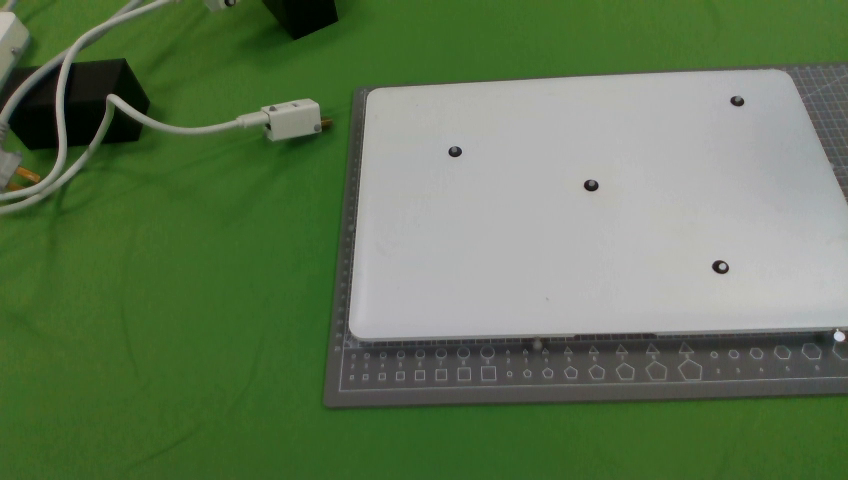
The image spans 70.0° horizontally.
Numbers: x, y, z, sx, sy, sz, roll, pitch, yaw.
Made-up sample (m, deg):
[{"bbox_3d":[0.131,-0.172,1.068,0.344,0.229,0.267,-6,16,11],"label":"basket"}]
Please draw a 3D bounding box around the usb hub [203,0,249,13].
[{"bbox_3d":[-0.153,-0.257,0.569,0.125,0.025,0.049,-33,62,-16],"label":"usb hub"}]

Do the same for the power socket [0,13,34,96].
[{"bbox_3d":[-0.444,-0.137,0.567,0.072,0.033,0.224,2,56,4],"label":"power socket"}]

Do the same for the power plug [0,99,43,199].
[{"bbox_3d":[-0.331,-0.070,0.495,0.072,0.053,0.035,-55,34,4],"label":"power plug"}]

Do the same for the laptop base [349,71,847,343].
[{"bbox_3d":[0.126,-0.033,0.461,0.354,0.023,0.233,-2,60,3],"label":"laptop base"}]

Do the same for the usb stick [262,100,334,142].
[{"bbox_3d":[-0.105,-0.103,0.516,0.059,0.027,0.021,-17,32,-32],"label":"usb stick"}]

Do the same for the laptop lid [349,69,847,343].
[{"bbox_3d":[0.125,-0.037,0.450,0.356,0.013,0.239,-1,59,4],"label":"laptop lid"}]
